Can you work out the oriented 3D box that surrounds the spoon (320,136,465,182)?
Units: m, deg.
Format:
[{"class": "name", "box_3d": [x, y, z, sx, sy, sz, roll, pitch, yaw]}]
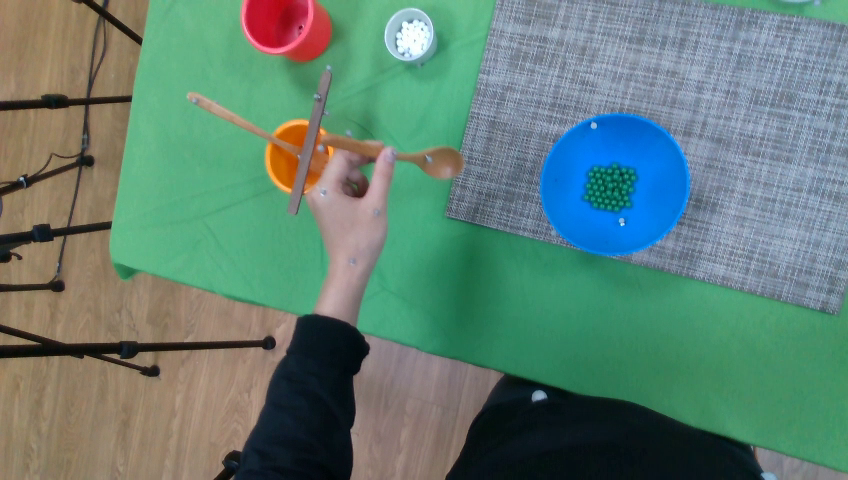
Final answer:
[{"class": "spoon", "box_3d": [-0.025, -0.085, 0.620, 0.042, 0.195, 0.021, -53, 57, 26]}]

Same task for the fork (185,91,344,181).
[{"class": "fork", "box_3d": [-0.189, -0.126, 0.737, 0.209, 0.018, 0.028, 26, 105, -32]}]

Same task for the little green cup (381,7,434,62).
[{"class": "little green cup", "box_3d": [-0.018, -0.248, 0.742, 0.061, 0.039, 0.061, 1, 93, 16]}]

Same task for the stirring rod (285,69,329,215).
[{"class": "stirring rod", "box_3d": [-0.139, -0.116, 0.721, 0.014, 0.006, 0.176, 17, 97, 12]}]

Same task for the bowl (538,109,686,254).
[{"class": "bowl", "box_3d": [0.204, -0.061, 0.669, 0.151, 0.077, 0.151, 1, 93, 15]}]
